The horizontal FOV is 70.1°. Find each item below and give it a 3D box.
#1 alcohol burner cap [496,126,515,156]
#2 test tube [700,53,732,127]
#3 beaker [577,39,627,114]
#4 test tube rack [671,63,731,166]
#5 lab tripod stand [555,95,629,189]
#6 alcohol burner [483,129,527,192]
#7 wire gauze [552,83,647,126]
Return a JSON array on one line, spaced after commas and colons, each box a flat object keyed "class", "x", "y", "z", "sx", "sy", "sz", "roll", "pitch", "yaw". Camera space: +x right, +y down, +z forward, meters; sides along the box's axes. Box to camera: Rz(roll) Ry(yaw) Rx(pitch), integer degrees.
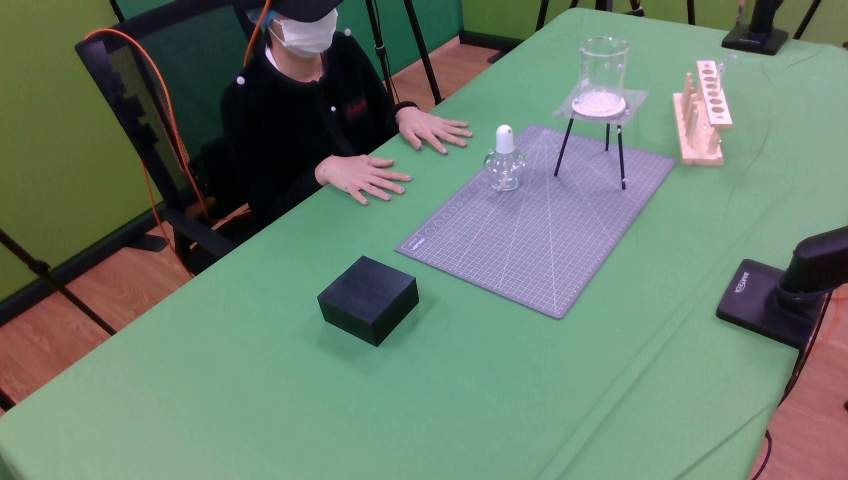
[{"class": "alcohol burner cap", "x": 0.138, "y": -0.172, "z": 1.028, "sx": 0.034, "sy": 0.048, "sz": 0.033, "roll": -5, "pitch": 38, "yaw": 5}, {"class": "test tube", "x": 0.521, "y": -0.265, "z": 1.081, "sx": 0.017, "sy": 0.151, "sz": 0.017, "roll": -3, "pitch": 47, "yaw": 3}, {"class": "beaker", "x": 0.286, "y": -0.264, "z": 0.976, "sx": 0.073, "sy": 0.101, "sz": 0.084, "roll": 25, "pitch": 49, "yaw": 33}, {"class": "test tube rack", "x": 0.513, "y": -0.241, "z": 1.132, "sx": 0.066, "sy": 0.085, "sz": 0.242, "roll": 4, "pitch": 41, "yaw": 14}, {"class": "lab tripod stand", "x": 0.300, "y": -0.174, "z": 1.045, "sx": 0.148, "sy": 0.132, "sz": 0.147, "roll": -5, "pitch": 38, "yaw": 5}, {"class": "alcohol burner", "x": 0.141, "y": -0.144, "z": 1.050, "sx": 0.078, "sy": 0.119, "sz": 0.077, "roll": -4, "pitch": 42, "yaw": 4}, {"class": "wire gauze", "x": 0.293, "y": -0.224, "z": 1.004, "sx": 0.120, "sy": 0.011, "sz": 0.125, "roll": 19, "pitch": 43, "yaw": 26}]
